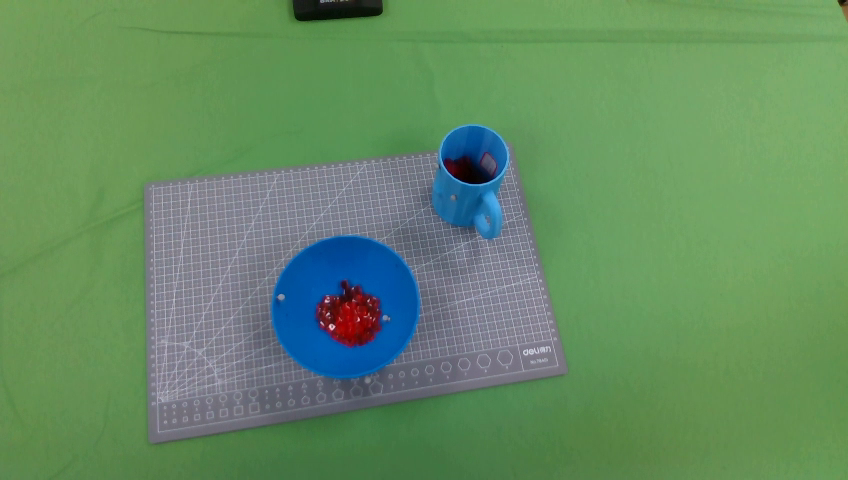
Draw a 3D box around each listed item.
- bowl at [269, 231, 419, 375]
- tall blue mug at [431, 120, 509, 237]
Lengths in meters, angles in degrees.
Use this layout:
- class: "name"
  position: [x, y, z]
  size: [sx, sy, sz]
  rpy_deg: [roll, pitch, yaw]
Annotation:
- class: "bowl"
  position: [-0.082, 0.074, 0.645]
  size: [0.151, 0.077, 0.150]
  rpy_deg: [2, 70, -4]
- class: "tall blue mug"
  position: [0.061, -0.065, 0.690]
  size: [0.107, 0.108, 0.077]
  rpy_deg: [38, 70, 10]
